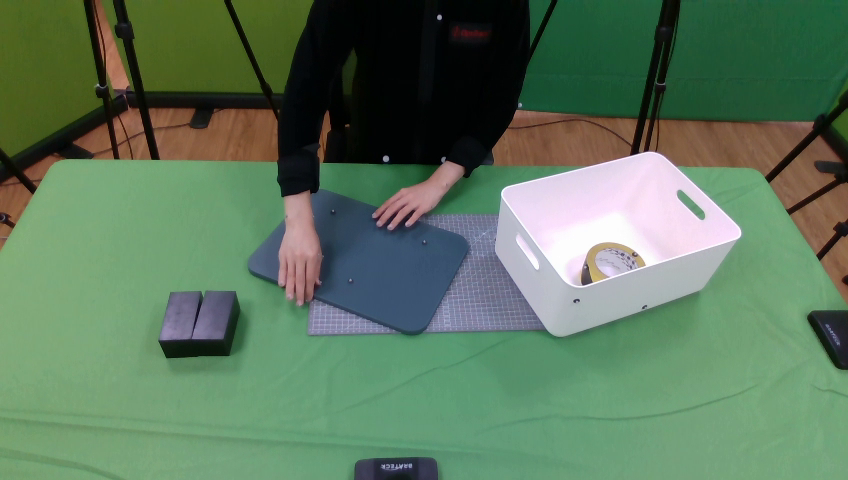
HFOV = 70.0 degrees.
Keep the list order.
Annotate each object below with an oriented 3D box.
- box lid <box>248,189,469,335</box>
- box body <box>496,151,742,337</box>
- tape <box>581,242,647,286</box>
[{"bbox_3d":[-0.123,0.028,1.167,0.371,0.015,0.262,19,47,14],"label":"box lid"},{"bbox_3d":[0.340,0.003,1.118,0.364,0.161,0.252,-15,49,-18],"label":"box body"},{"bbox_3d":[0.355,0.060,1.132,0.117,0.053,0.116,2,47,-2],"label":"tape"}]
